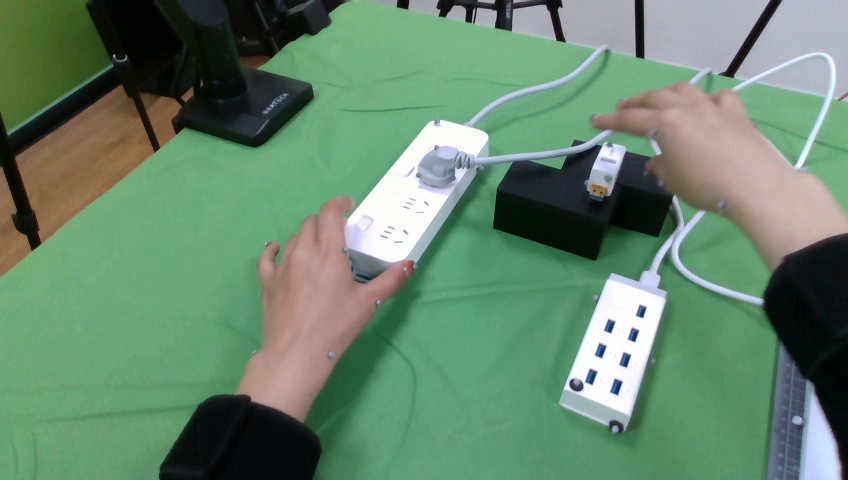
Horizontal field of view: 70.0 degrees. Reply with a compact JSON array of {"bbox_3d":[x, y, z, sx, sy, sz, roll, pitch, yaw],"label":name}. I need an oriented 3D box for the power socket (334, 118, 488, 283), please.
[{"bbox_3d":[-0.006,-0.047,0.586,0.072,0.033,0.225,20,49,17],"label":"power socket"}]

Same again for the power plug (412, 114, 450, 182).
[{"bbox_3d":[0.009,-0.082,0.589,0.035,0.053,0.072,14,40,-1],"label":"power plug"}]

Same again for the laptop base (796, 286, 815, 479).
[{"bbox_3d":[0.431,0.166,0.387,0.352,0.023,0.234,19,52,18],"label":"laptop base"}]

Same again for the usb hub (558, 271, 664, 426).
[{"bbox_3d":[0.147,0.079,0.468,0.049,0.025,0.124,19,49,20],"label":"usb hub"}]

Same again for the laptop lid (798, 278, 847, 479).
[{"bbox_3d":[0.430,0.159,0.377,0.355,0.013,0.240,20,52,19],"label":"laptop lid"}]

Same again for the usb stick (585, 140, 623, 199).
[{"bbox_3d":[0.157,-0.061,0.532,0.021,0.027,0.059,18,52,16],"label":"usb stick"}]
